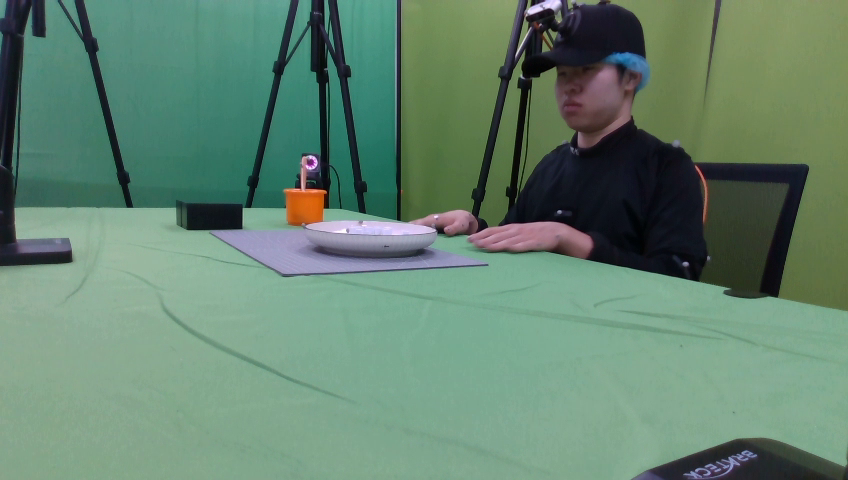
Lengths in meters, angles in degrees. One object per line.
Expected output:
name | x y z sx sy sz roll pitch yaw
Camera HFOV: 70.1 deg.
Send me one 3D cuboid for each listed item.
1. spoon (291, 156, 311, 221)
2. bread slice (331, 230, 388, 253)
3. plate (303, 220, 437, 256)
spoon | -0.268 -0.117 1.330 0.042 0.021 0.193 2 47 -12
bread slice | -0.088 0.000 0.947 0.105 0.019 0.131 -4 11 -44
plate | -0.084 -0.003 0.951 0.209 0.038 0.209 3 7 0
